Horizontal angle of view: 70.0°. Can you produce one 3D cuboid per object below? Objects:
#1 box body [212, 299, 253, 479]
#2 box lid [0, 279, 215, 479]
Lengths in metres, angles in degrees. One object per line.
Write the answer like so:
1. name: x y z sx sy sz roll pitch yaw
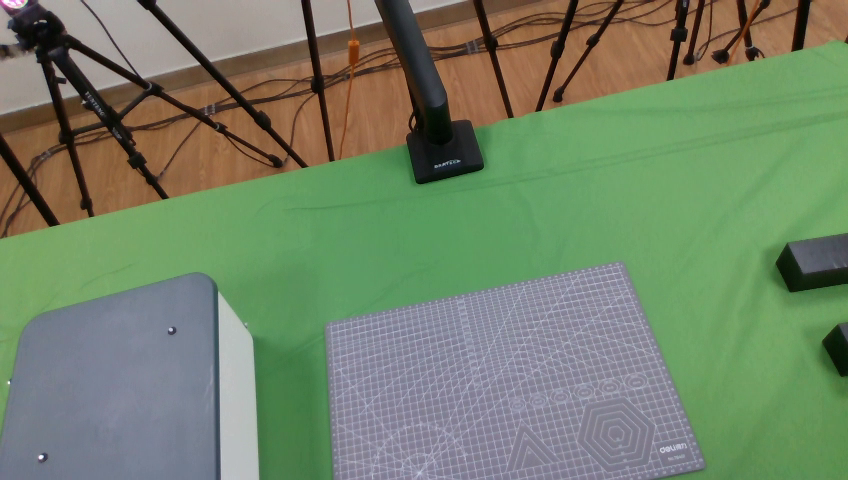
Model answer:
1. box body: -0.355 0.266 0.744 0.254 0.162 0.360 -15 55 -1
2. box lid: -0.365 0.222 0.684 0.263 0.015 0.367 -15 56 0
